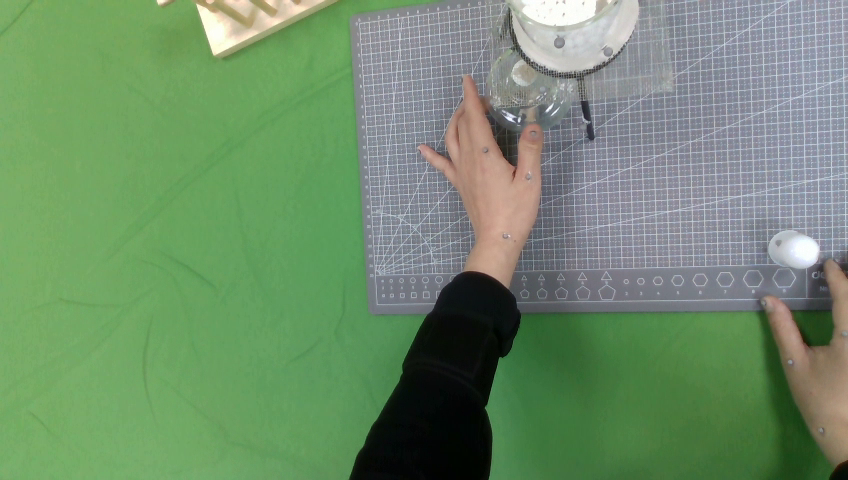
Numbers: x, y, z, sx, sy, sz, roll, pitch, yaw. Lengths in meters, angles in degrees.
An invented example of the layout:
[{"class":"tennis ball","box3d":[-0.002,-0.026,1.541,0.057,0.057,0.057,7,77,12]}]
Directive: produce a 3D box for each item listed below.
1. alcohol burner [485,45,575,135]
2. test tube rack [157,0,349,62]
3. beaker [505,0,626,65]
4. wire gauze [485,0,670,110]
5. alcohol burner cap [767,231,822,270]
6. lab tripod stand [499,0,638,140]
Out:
[{"class":"alcohol burner","box3d":[0.088,-0.129,0.510,0.078,0.119,0.078,1,93,13]},{"class":"test tube rack","box3d":[-0.127,-0.258,0.576,0.242,0.085,0.066,-20,88,15]},{"class":"beaker","box3d":[0.088,-0.154,0.380,0.083,0.100,0.074,11,97,14]},{"class":"wire gauze","box3d":[0.106,-0.157,0.426,0.125,0.011,0.121,-3,96,12]},{"class":"alcohol burner cap","box3d":[0.307,0.009,0.499,0.034,0.048,0.034,1,93,15]},{"class":"lab tripod stand","box3d":[0.122,-0.159,0.489,0.148,0.131,0.148,1,95,13]}]
